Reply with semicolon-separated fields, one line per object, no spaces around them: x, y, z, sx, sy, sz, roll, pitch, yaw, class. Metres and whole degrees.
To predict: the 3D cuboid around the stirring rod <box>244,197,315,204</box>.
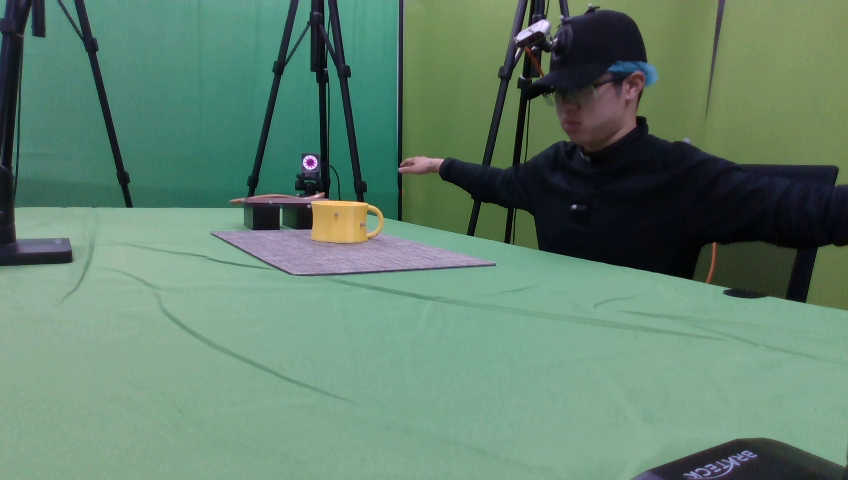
-0.269;-0.077;1.200;0.177;0.006;0.014;-1;41;-35;stirring rod

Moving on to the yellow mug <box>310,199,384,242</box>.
-0.132;-0.035;1.054;0.131;0.064;0.099;0;8;-23;yellow mug

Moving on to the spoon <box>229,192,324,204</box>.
-0.297;-0.086;1.230;0.195;0.021;0.041;-3;9;-26;spoon
